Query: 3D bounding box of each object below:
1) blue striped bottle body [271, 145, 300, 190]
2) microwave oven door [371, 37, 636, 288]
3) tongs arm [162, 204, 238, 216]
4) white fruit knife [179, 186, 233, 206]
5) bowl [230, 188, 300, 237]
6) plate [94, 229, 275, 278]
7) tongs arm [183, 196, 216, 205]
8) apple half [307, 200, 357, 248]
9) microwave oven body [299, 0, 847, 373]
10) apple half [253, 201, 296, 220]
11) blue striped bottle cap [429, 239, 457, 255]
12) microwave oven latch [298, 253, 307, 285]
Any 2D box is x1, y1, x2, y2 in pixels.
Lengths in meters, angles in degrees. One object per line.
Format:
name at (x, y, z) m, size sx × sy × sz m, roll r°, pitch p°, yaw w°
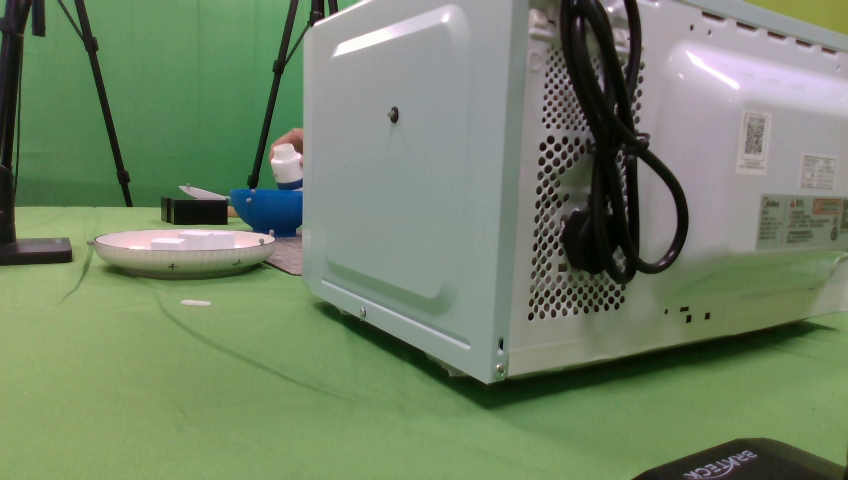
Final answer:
blue striped bottle body at (-0.272, -0.130, 1.224) m, size 0.063 × 0.121 × 0.063 m, roll -6°, pitch 26°, yaw 3°
microwave oven door at (0.109, -0.080, 0.686) m, size 0.358 × 0.243 × 0.039 m, roll -2°, pitch 9°, yaw -33°
tongs arm at (-0.396, -0.067, 1.399) m, size 0.389 × 0.028 × 0.028 m, roll 1°, pitch 5°, yaw -15°
white fruit knife at (-0.413, -0.081, 1.270) m, size 0.208 × 0.027 × 0.016 m, roll 17°, pitch 13°, yaw -41°
bowl at (-0.265, -0.048, 1.065) m, size 0.151 × 0.077 × 0.151 m, roll 3°, pitch 8°, yaw 0°
plate at (-0.291, 0.016, 0.750) m, size 0.208 × 0.039 × 0.207 m, roll 2°, pitch 7°, yaw 0°
tongs arm at (-0.404, -0.081, 1.479) m, size 0.385 × 0.026 × 0.050 m, roll 3°, pitch 8°, yaw -2°
apple half at (-0.135, -0.024, 0.941) m, size 0.053 × 0.074 × 0.081 m, roll 13°, pitch 9°, yaw 38°
microwave oven body at (0.152, -0.055, 0.542) m, size 0.444 × 0.260 × 0.324 m, roll -2°, pitch 7°, yaw -33°
apple half at (-0.264, -0.053, 1.066) m, size 0.081 × 0.033 × 0.081 m, roll 1°, pitch 8°, yaw 0°
blue striped bottle cap at (0.030, 0.011, 0.947) m, size 0.044 × 0.020 × 0.044 m, roll -1°, pitch 7°, yaw 0°
microwave oven latch at (-0.081, 0.027, 0.582) m, size 0.079 × 0.029 × 0.030 m, roll -2°, pitch 7°, yaw -32°
